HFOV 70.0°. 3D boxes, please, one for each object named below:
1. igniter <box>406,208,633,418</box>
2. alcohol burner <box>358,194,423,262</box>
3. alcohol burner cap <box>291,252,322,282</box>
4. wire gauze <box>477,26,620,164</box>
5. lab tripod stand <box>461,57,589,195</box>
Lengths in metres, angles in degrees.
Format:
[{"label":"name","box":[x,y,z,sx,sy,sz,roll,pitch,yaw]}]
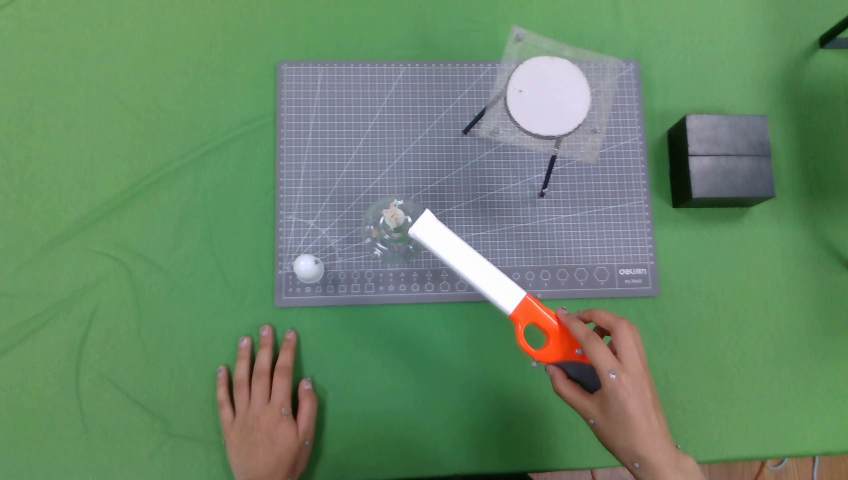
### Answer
[{"label":"igniter","box":[0.095,0.071,0.587,0.276,0.025,0.057,41,78,1]},{"label":"alcohol burner","box":[-0.033,-0.016,0.656,0.078,0.119,0.077,1,81,-3]},{"label":"alcohol burner cap","box":[-0.134,0.028,0.678,0.034,0.048,0.033,1,80,-4]},{"label":"wire gauze","box":[0.127,-0.146,0.610,0.121,0.011,0.124,17,79,-1]},{"label":"lab tripod stand","box":[0.121,-0.136,0.676,0.148,0.132,0.147,1,78,-3]}]
